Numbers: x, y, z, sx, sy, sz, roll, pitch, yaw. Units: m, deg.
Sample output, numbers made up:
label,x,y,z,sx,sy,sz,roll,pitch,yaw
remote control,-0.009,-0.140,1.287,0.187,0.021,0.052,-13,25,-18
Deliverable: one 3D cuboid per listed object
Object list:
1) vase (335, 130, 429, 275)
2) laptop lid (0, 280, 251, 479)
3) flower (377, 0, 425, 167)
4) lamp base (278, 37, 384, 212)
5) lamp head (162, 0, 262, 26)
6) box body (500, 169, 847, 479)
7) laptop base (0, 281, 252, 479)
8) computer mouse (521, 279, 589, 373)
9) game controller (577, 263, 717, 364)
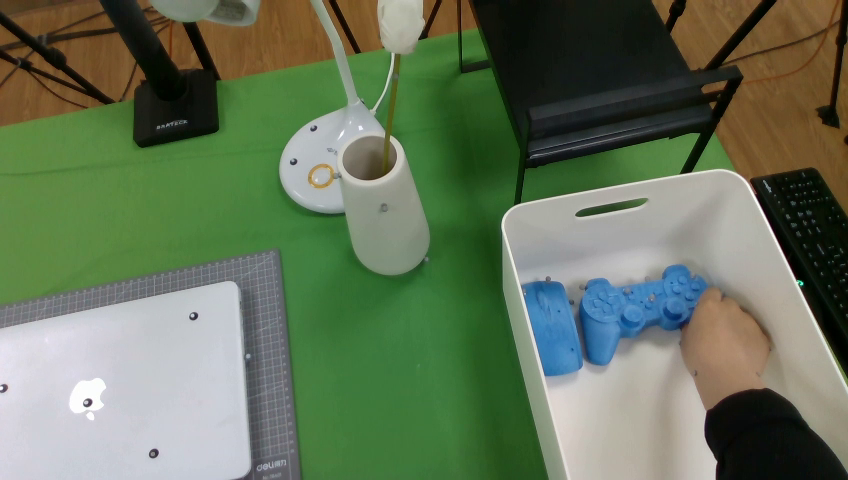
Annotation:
label,x,y,z,sx,sy,sz,roll,pitch,yaw
vase,-0.049,-0.039,0.694,0.098,0.202,0.097,-2,61,5
laptop lid,-0.379,0.184,0.687,0.357,0.013,0.239,-10,65,-2
flower,-0.040,-0.088,0.625,0.038,0.364,0.043,-16,51,-24
lamp base,-0.121,-0.155,0.770,0.160,0.182,0.178,19,62,13
lamp head,-0.170,-0.248,0.483,0.112,0.113,0.122,16,82,12
box body,0.232,0.136,0.605,0.254,0.162,0.360,-10,62,-1
laptop base,-0.379,0.187,0.699,0.354,0.023,0.233,-12,66,-3
computer mouse,0.144,0.094,0.695,0.063,0.041,0.116,-14,54,-1
game controller,0.252,0.080,0.693,0.155,0.052,0.096,-9,60,-2
